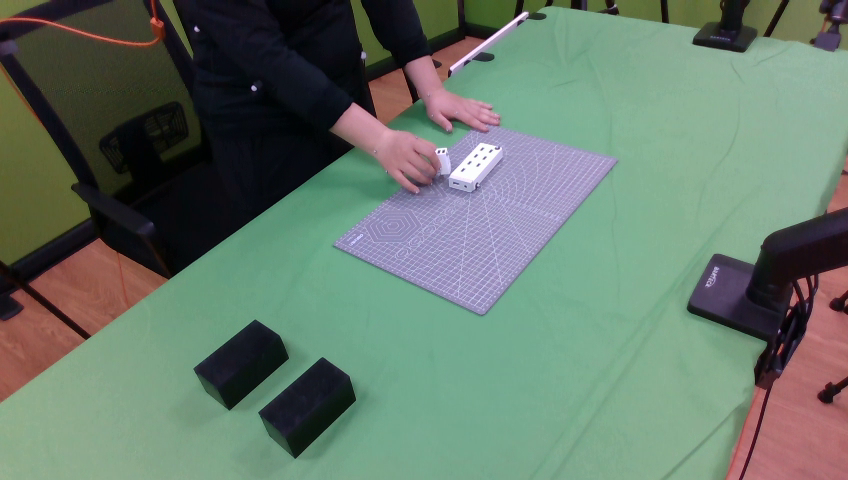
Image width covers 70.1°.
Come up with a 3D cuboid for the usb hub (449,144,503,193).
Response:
[{"bbox_3d":[0.096,-0.132,1.105,0.049,0.025,0.125,18,47,27],"label":"usb hub"}]

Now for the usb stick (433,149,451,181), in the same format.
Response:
[{"bbox_3d":[0.034,-0.134,1.090,0.027,0.059,0.021,-1,36,11],"label":"usb stick"}]
